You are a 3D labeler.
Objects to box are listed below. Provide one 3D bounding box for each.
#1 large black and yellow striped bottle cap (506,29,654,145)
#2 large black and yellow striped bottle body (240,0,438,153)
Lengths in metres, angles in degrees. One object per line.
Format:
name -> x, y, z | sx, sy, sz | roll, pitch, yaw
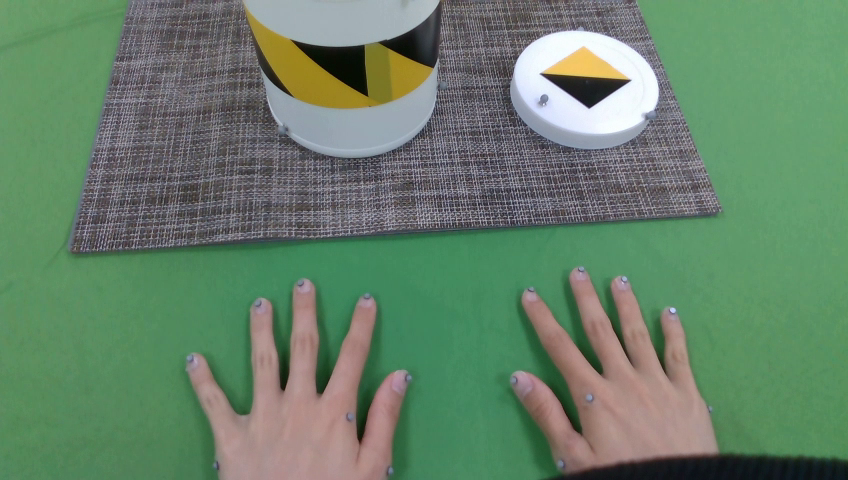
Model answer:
large black and yellow striped bottle cap -> 0.124, -0.124, 0.483 | 0.115, 0.019, 0.114 | 2, 58, -3
large black and yellow striped bottle body -> -0.055, -0.162, 0.398 | 0.131, 0.185, 0.129 | 1, 59, -2
